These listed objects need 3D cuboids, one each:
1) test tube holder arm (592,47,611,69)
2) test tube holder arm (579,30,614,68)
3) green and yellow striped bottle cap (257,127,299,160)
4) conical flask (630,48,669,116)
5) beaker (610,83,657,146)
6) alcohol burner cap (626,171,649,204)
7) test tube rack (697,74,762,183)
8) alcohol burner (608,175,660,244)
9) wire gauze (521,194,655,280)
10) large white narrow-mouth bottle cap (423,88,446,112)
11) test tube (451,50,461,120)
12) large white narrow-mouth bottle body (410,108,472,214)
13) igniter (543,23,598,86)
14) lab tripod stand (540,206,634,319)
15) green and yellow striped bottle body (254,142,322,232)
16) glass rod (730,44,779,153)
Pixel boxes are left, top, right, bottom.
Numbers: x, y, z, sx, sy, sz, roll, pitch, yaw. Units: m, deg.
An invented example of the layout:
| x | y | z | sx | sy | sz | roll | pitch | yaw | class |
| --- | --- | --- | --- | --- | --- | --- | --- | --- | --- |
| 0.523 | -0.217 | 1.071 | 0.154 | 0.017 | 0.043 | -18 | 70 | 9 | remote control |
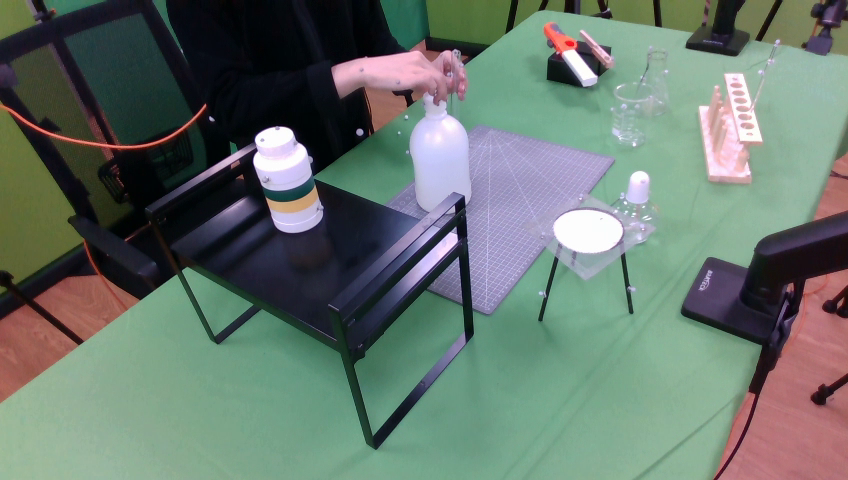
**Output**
| x | y | z | sx | sy | sz | roll | pitch | yaw | class |
| --- | --- | --- | --- | --- | --- | --- | --- | --- | --- |
| 0.385 | -0.398 | 1.317 | 0.010 | 0.015 | 0.087 | -10 | 41 | -2 | test tube holder arm |
| 0.384 | -0.428 | 1.351 | 0.013 | 0.015 | 0.177 | -11 | 41 | -3 | test tube holder arm |
| -0.169 | -0.112 | 0.698 | 0.045 | 0.020 | 0.045 | -5 | 40 | 5 | green and yellow striped bottle cap |
| 0.457 | -0.317 | 1.205 | 0.075 | 0.122 | 0.075 | -4 | 41 | 4 | conical flask |
| 0.388 | -0.235 | 1.138 | 0.074 | 0.101 | 0.083 | -31 | 45 | -25 | beaker |
| 0.320 | -0.081 | 0.900 | 0.034 | 0.048 | 0.033 | -4 | 42 | 4 | alcohol burner cap |
| 0.547 | -0.208 | 1.095 | 0.066 | 0.085 | 0.242 | 5 | 42 | 15 | test tube rack |
| 0.322 | -0.053 | 0.924 | 0.078 | 0.119 | 0.077 | -4 | 43 | 4 | alcohol burner |
| 0.207 | -0.012 | 0.772 | 0.122 | 0.011 | 0.124 | -28 | 44 | -20 | wire gauze |
| 0.016 | -0.219 | 0.946 | 0.038 | 0.024 | 0.037 | -4 | 40 | 4 | large white narrow-mouth bottle cap |
| 0.054 | -0.256 | 1.045 | 0.017 | 0.151 | 0.017 | -1 | 44 | 1 | test tube |
| 0.027 | -0.145 | 1.006 | 0.102 | 0.195 | 0.101 | -5 | 40 | 4 | large white narrow-mouth bottle body |
| 0.320 | -0.419 | 1.345 | 0.057 | 0.025 | 0.274 | -12 | 44 | -3 | igniter |
| 0.217 | 0.034 | 0.821 | 0.148 | 0.132 | 0.147 | -4 | 42 | 4 | lab tripod stand |
| -0.165 | -0.073 | 0.732 | 0.063 | 0.120 | 0.063 | -4 | 41 | 4 | green and yellow striped bottle body |
| 0.555 | -0.234 | 1.020 | 0.008 | 0.200 | 0.008 | 2 | 40 | -1 | glass rod |
